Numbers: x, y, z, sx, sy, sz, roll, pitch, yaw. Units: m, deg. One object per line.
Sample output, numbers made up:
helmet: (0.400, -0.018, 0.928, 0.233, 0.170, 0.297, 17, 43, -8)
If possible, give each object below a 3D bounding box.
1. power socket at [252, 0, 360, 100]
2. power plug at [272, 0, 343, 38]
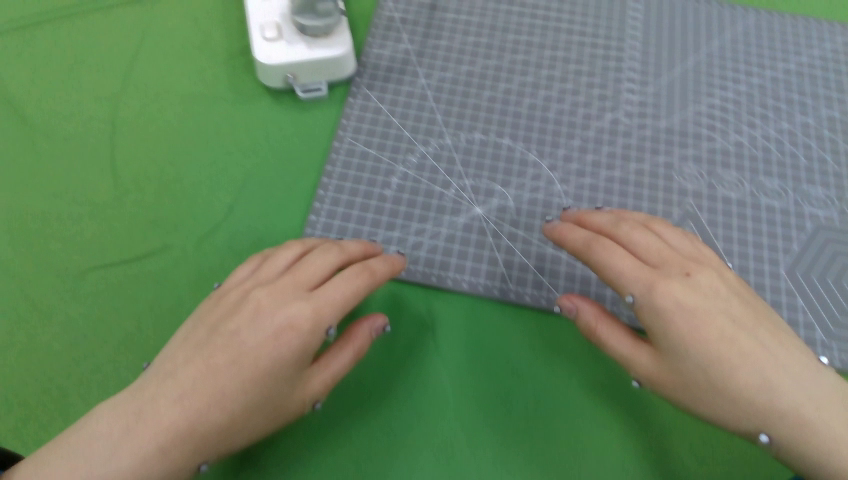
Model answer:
power socket: (-0.101, -0.209, 0.476, 0.072, 0.033, 0.224, -9, 64, -9)
power plug: (-0.091, -0.172, 0.433, 0.072, 0.035, 0.052, 12, 67, 28)
